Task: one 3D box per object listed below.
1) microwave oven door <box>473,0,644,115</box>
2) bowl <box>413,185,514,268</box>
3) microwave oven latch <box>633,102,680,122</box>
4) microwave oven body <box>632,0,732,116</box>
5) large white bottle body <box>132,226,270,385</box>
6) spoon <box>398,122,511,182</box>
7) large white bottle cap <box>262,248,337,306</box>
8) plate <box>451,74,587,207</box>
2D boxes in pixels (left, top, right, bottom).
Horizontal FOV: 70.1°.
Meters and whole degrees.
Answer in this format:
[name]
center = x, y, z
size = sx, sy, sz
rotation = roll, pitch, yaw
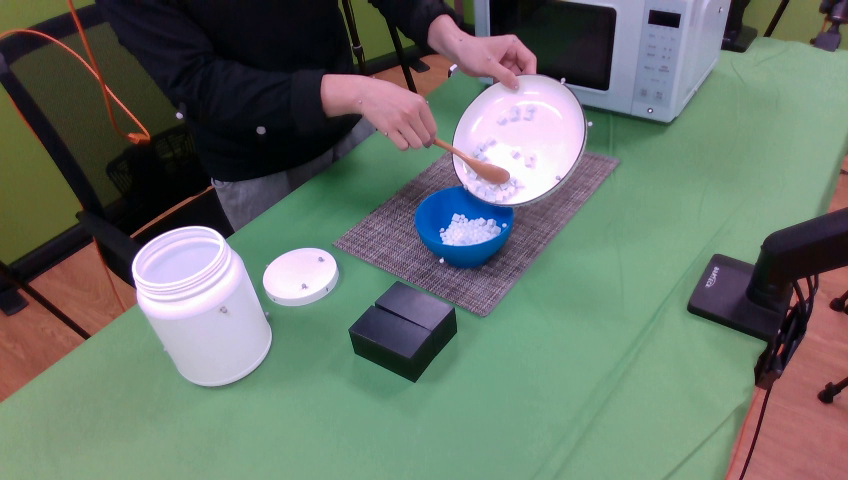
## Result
[microwave oven door]
center = 0.257, -0.396, 1.199
size = 0.353, 0.245, 0.039
rotation = 21, 48, 29
[bowl]
center = 0.063, -0.010, 0.922
size = 0.151, 0.077, 0.150
rotation = -4, 40, 4
[microwave oven latch]
center = 0.444, -0.249, 1.157
size = 0.078, 0.029, 0.030
rotation = 21, 49, 30
[microwave oven body]
center = 0.377, -0.463, 1.267
size = 0.438, 0.261, 0.327
rotation = 21, 49, 30
[large white bottle body]
center = -0.286, 0.085, 0.784
size = 0.130, 0.185, 0.130
rotation = -4, 41, 4
[spoon]
center = 0.043, -0.135, 0.910
size = 0.193, 0.042, 0.021
rotation = 32, 67, 17
[large white bottle cap]
center = -0.193, 0.056, 0.934
size = 0.115, 0.018, 0.114
rotation = -4, 41, 4
[plate]
center = 0.141, -0.146, 0.905
size = 0.208, 0.038, 0.208
rotation = -7, 74, 25
